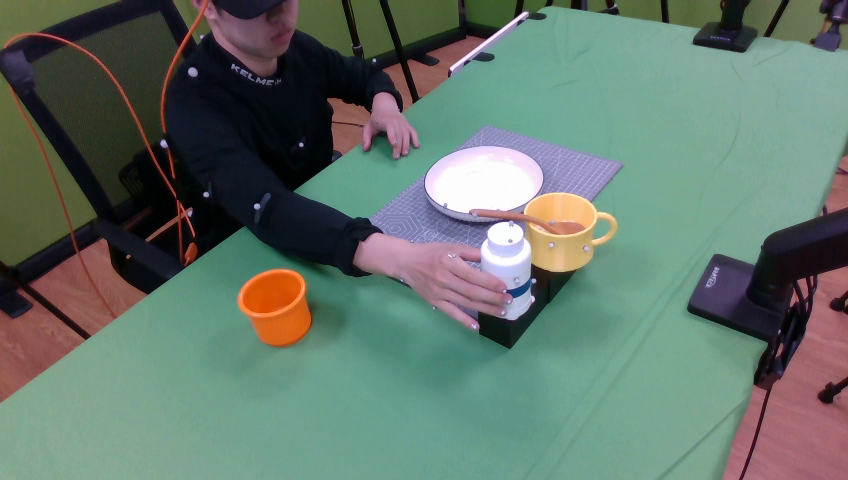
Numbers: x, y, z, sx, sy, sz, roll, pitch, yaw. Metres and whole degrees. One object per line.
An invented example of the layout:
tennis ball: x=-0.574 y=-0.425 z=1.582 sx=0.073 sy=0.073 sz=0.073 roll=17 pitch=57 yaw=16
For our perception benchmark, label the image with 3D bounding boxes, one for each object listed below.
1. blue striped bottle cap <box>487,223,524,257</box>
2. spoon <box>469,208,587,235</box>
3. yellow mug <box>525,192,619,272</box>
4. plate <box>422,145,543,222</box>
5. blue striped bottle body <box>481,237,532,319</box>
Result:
blue striped bottle cap: x=0.097 y=-0.001 z=0.722 sx=0.044 sy=0.021 sz=0.044 roll=-2 pitch=39 yaw=2
spoon: x=0.143 y=-0.026 z=0.817 sx=0.195 sy=0.021 sz=0.041 roll=12 pitch=35 yaw=-29
yellow mug: x=0.206 y=-0.014 z=0.844 sx=0.131 sy=0.064 sz=0.099 roll=-4 pitch=41 yaw=2
plate: x=0.101 y=-0.094 z=1.048 sx=0.207 sy=0.039 sz=0.206 roll=-4 pitch=41 yaw=4
blue striped bottle body: x=0.104 y=0.037 z=0.756 sx=0.063 sy=0.121 sz=0.063 roll=-4 pitch=41 yaw=4
